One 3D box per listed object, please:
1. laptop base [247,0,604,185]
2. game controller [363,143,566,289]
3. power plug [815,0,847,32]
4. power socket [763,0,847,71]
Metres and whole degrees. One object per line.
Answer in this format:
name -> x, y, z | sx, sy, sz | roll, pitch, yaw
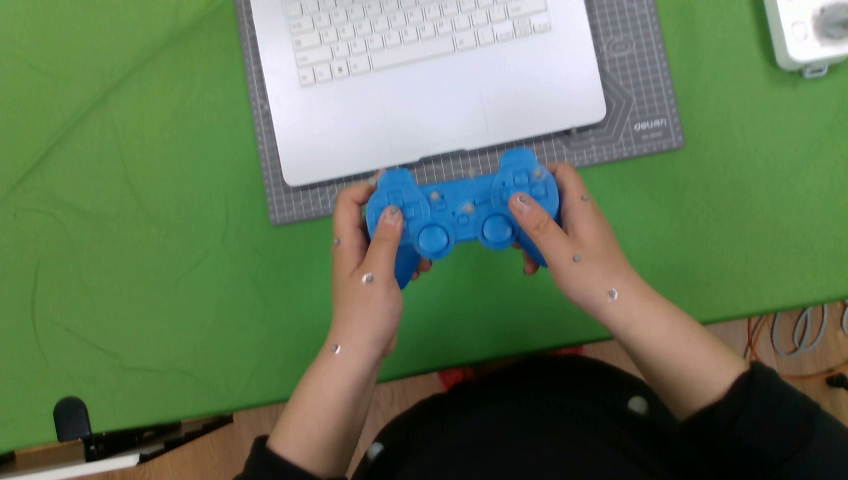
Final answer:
laptop base -> -0.005, -0.208, 0.654 | 0.354, 0.023, 0.235 | -12, 89, 6
game controller -> 0.029, -0.017, 0.461 | 0.155, 0.051, 0.097 | -9, 95, 3
power plug -> 0.415, -0.218, 0.581 | 0.072, 0.053, 0.035 | 2, 87, 2
power socket -> 0.376, -0.285, 0.608 | 0.072, 0.032, 0.226 | -9, 87, 7
